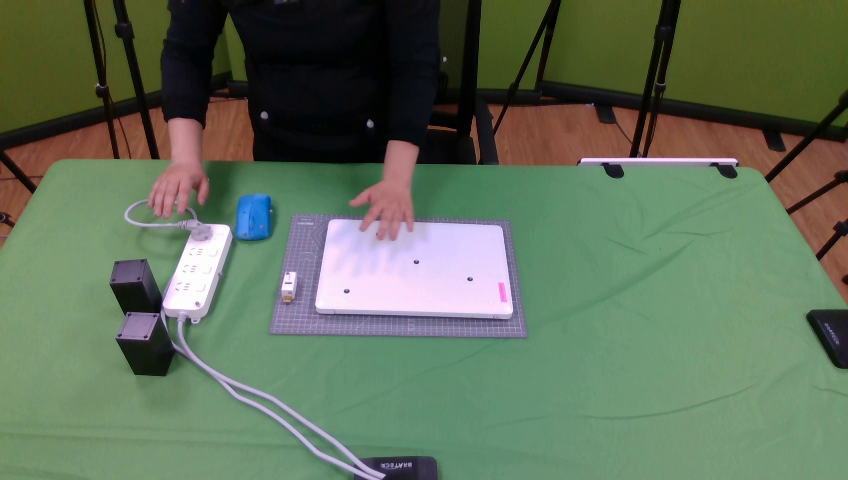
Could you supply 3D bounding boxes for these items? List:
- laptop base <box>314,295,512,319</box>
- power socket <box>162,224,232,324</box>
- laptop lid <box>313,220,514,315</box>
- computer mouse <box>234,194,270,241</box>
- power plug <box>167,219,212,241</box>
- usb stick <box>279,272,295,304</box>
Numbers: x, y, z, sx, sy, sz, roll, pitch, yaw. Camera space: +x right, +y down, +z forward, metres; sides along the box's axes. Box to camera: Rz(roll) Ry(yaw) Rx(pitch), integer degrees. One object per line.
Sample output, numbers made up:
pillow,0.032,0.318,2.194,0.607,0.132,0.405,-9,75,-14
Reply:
laptop base,-0.018,0.055,1.144,0.354,0.023,0.234,2,42,-2
power socket,-0.411,0.052,1.106,0.072,0.033,0.225,4,45,-1
laptop lid,-0.017,0.045,1.138,0.357,0.013,0.240,3,43,-1
computer mouse,-0.341,-0.049,1.208,0.063,0.041,0.116,0,50,-8
power plug,-0.438,-0.018,1.144,0.072,0.053,0.035,11,44,9
usb stick,-0.246,0.088,1.085,0.021,0.027,0.059,4,47,-4
